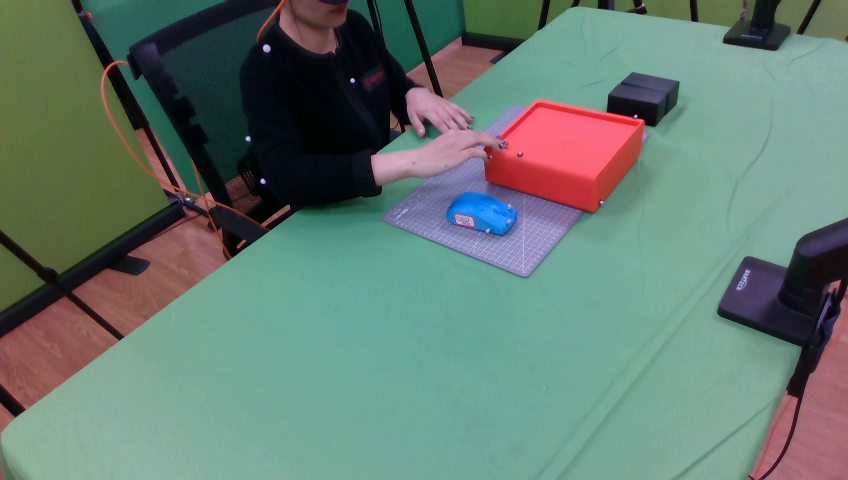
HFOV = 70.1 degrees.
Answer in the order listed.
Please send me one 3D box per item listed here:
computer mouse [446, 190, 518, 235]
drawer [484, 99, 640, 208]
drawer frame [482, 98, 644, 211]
[{"bbox_3d":[0.096,-0.048,1.004,0.116,0.041,0.063,18,45,23],"label":"computer mouse"},{"bbox_3d":[0.244,-0.158,1.073,0.210,0.073,0.195,22,48,31],"label":"drawer"},{"bbox_3d":[0.246,-0.158,1.071,0.212,0.083,0.202,21,48,30],"label":"drawer frame"}]
